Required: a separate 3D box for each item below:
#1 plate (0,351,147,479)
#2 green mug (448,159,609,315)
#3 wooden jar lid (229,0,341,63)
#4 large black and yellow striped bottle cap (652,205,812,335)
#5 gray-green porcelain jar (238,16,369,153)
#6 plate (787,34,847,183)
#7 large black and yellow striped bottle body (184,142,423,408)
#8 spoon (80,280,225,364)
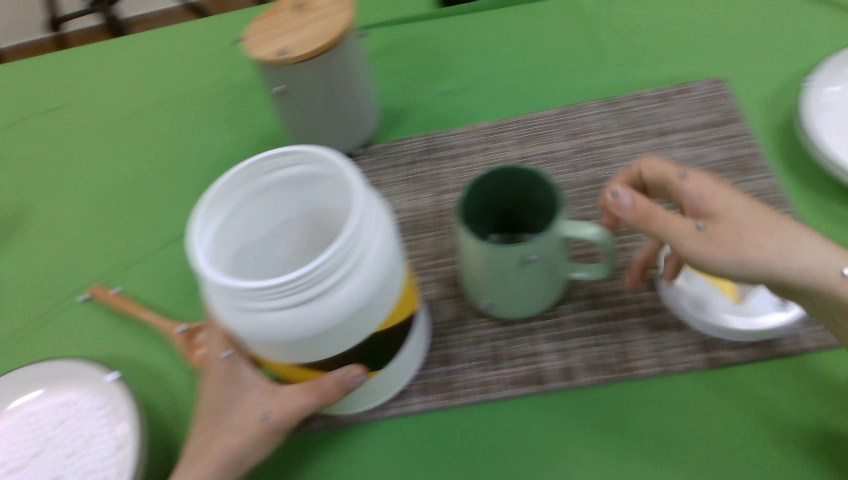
[{"bbox_3d":[-0.312,0.189,0.472,0.209,0.038,0.207,-5,55,8],"label":"plate"},{"bbox_3d":[0.081,0.002,0.476,0.125,0.106,0.092,8,57,16],"label":"green mug"},{"bbox_3d":[-0.128,-0.198,0.567,0.108,0.021,0.107,-7,53,10],"label":"wooden jar lid"},{"bbox_3d":[0.243,0.021,0.484,0.115,0.019,0.114,-6,54,9],"label":"large black and yellow striped bottle cap"},{"bbox_3d":[-0.117,-0.158,0.616,0.106,0.128,0.105,-6,51,8],"label":"gray-green porcelain jar"},{"bbox_3d":[0.428,-0.106,0.525,0.207,0.039,0.205,-6,55,8],"label":"plate"},{"bbox_3d":[-0.078,0.031,0.438,0.130,0.186,0.129,-5,55,8],"label":"large black and yellow striped bottle body"},{"bbox_3d":[-0.253,0.066,0.554,0.192,0.022,0.041,19,77,22],"label":"spoon"}]
